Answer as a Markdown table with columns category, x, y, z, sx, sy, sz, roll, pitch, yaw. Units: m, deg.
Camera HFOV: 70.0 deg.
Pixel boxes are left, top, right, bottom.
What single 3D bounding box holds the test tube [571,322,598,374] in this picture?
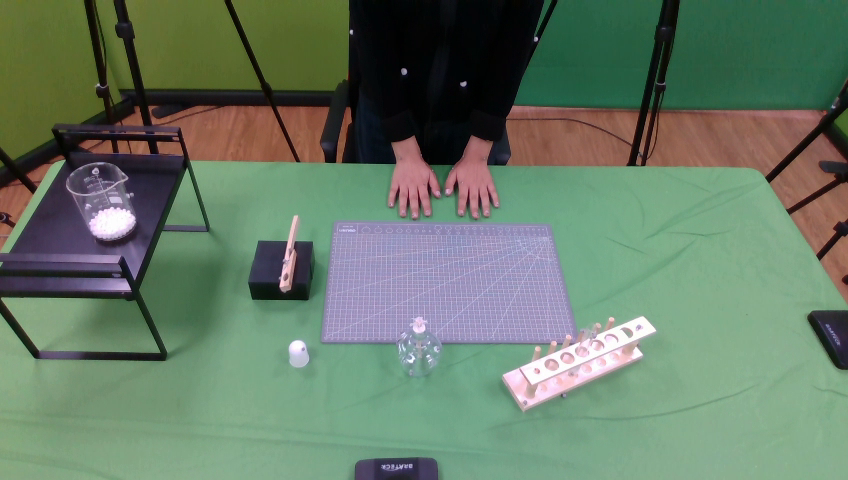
| category | x | y | z | sx | sy | sz | roll | pitch | yaw |
| --- | --- | --- | --- | --- | --- | --- | --- | --- | --- |
| test tube | 0.246 | 0.169 | 0.936 | 0.017 | 0.151 | 0.017 | -1 | 53 | 1 |

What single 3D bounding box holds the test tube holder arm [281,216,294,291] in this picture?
| category | x | y | z | sx | sy | sz | roll | pitch | yaw |
| --- | --- | --- | --- | --- | --- | --- | --- | --- | --- |
| test tube holder arm | -0.246 | 0.020 | 1.095 | 0.013 | 0.015 | 0.177 | -4 | 45 | -5 |

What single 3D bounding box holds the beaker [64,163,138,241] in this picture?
| category | x | y | z | sx | sy | sz | roll | pitch | yaw |
| --- | --- | --- | --- | --- | --- | --- | --- | --- | --- |
| beaker | -0.477 | -0.055 | 0.910 | 0.084 | 0.101 | 0.073 | -9 | 48 | -13 |

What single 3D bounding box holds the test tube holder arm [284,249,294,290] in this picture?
| category | x | y | z | sx | sy | sz | roll | pitch | yaw |
| --- | --- | --- | --- | --- | --- | --- | --- | --- | --- |
| test tube holder arm | -0.237 | 0.052 | 1.064 | 0.010 | 0.015 | 0.087 | -3 | 45 | -3 |

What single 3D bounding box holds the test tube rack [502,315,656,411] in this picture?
| category | x | y | z | sx | sy | sz | roll | pitch | yaw |
| --- | --- | --- | --- | --- | --- | --- | --- | --- | --- |
| test tube rack | 0.253 | 0.186 | 0.989 | 0.242 | 0.085 | 0.066 | -18 | 50 | -20 |

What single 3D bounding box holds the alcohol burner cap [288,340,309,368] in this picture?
| category | x | y | z | sx | sy | sz | roll | pitch | yaw |
| --- | --- | --- | --- | --- | --- | --- | --- | --- | --- |
| alcohol burner cap | -0.207 | 0.183 | 0.991 | 0.034 | 0.048 | 0.033 | 3 | 47 | -3 |

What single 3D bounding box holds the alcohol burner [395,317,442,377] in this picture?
| category | x | y | z | sx | sy | sz | roll | pitch | yaw |
| --- | --- | --- | --- | --- | --- | --- | --- | --- | --- |
| alcohol burner | -0.009 | 0.166 | 0.971 | 0.078 | 0.120 | 0.077 | 0 | 45 | 0 |
